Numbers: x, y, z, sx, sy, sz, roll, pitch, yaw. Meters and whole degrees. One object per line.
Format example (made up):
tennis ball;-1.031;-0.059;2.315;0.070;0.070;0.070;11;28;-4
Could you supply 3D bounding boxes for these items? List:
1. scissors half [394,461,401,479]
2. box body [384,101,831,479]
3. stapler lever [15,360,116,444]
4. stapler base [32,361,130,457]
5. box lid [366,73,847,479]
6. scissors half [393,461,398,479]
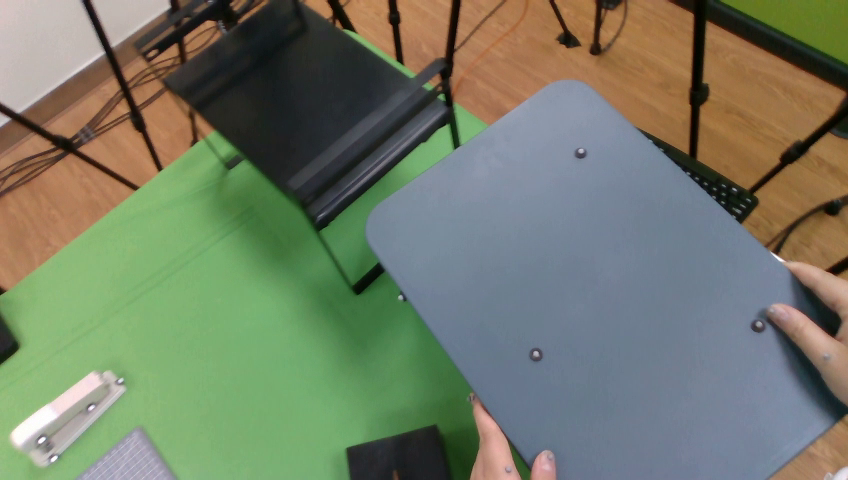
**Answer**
scissors half;-0.007;0.306;0.597;0.013;0.040;0.174;-15;81;-1
box body;0.173;0.057;0.653;0.254;0.162;0.361;-42;64;-13
stapler lever;-0.432;0.193;0.727;0.026;0.040;0.118;36;72;21
stapler base;-0.429;0.206;0.748;0.041;0.024;0.130;37;71;21
box lid;0.141;0.035;0.508;0.263;0.015;0.368;-35;67;-6
scissors half;-0.010;0.300;0.578;0.013;0.040;0.173;-17;64;4
